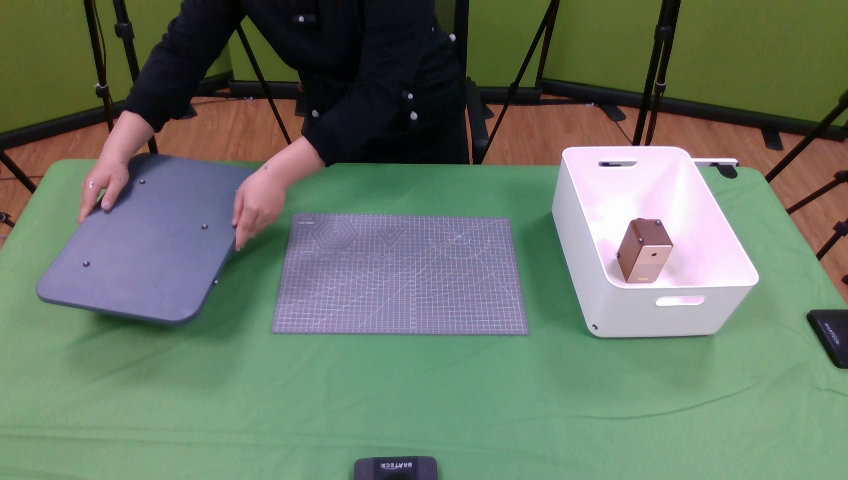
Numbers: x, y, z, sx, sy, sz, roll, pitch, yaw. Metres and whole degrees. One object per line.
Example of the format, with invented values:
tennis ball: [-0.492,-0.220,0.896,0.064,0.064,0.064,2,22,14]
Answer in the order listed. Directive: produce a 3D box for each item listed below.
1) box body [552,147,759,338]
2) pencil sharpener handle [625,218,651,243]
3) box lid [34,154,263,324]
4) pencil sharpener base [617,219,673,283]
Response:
box body: [0.400,-0.001,1.131,0.254,0.161,0.361,-1,46,-5]
pencil sharpener handle: [0.407,-0.025,1.167,0.036,0.068,0.030,5,44,-10]
box lid: [-0.458,-0.017,1.051,0.263,0.015,0.369,9,46,2]
pencil sharpener base: [0.412,0.020,1.140,0.061,0.107,0.076,-1,45,-4]
